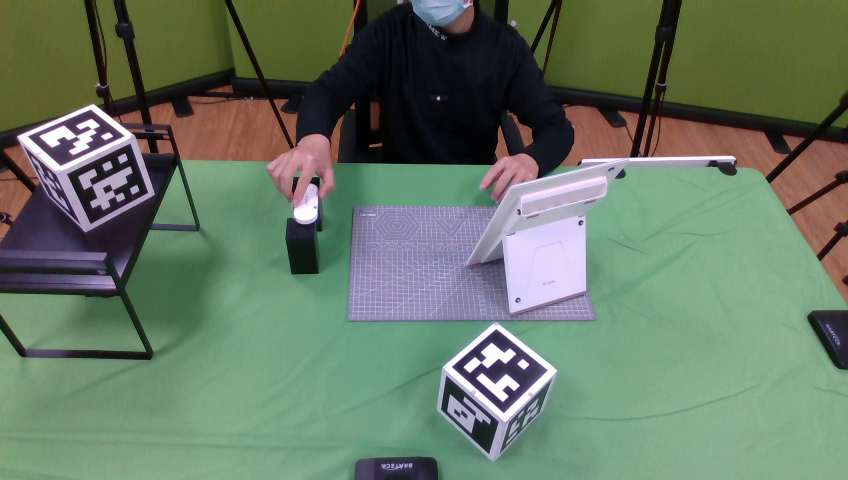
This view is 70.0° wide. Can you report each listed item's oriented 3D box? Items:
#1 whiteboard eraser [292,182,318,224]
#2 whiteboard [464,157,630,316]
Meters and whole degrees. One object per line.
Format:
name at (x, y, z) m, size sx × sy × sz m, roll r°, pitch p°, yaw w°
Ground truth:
whiteboard eraser at (-0.217, -0.068, 1.108) m, size 0.041 × 0.019 × 0.100 m, roll -2°, pitch 46°, yaw -4°
whiteboard at (0.224, 0.015, 1.042) m, size 0.217 × 0.306 × 0.143 m, roll -14°, pitch 68°, yaw -17°
